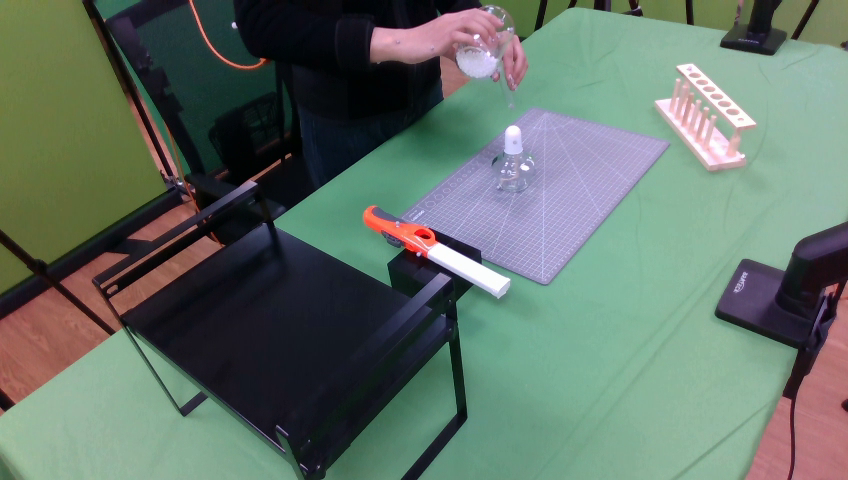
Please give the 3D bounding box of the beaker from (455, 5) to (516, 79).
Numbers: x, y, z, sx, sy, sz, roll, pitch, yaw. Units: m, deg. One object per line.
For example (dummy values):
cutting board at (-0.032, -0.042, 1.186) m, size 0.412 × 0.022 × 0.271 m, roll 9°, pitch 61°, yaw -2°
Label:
beaker at (0.096, -0.310, 0.960) m, size 0.073 × 0.084 × 0.100 m, roll 13°, pitch 54°, yaw 19°

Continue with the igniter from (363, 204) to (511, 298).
igniter at (0.007, 0.009, 0.887) m, size 0.274 × 0.025 × 0.057 m, roll 29°, pitch 50°, yaw 32°

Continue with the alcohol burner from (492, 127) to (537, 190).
alcohol burner at (0.156, -0.146, 1.046) m, size 0.078 × 0.119 × 0.077 m, roll -4°, pitch 43°, yaw 4°

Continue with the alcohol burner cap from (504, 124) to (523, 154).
alcohol burner cap at (0.151, -0.173, 1.022) m, size 0.034 × 0.048 × 0.033 m, roll -4°, pitch 36°, yaw 3°

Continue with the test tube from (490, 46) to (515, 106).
test tube at (0.142, -0.288, 1.077) m, size 0.017 × 0.151 × 0.017 m, roll -9°, pitch 61°, yaw 17°

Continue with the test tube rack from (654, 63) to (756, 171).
test tube rack at (0.511, -0.233, 1.120) m, size 0.067 × 0.085 × 0.241 m, roll -8°, pitch 41°, yaw -1°
